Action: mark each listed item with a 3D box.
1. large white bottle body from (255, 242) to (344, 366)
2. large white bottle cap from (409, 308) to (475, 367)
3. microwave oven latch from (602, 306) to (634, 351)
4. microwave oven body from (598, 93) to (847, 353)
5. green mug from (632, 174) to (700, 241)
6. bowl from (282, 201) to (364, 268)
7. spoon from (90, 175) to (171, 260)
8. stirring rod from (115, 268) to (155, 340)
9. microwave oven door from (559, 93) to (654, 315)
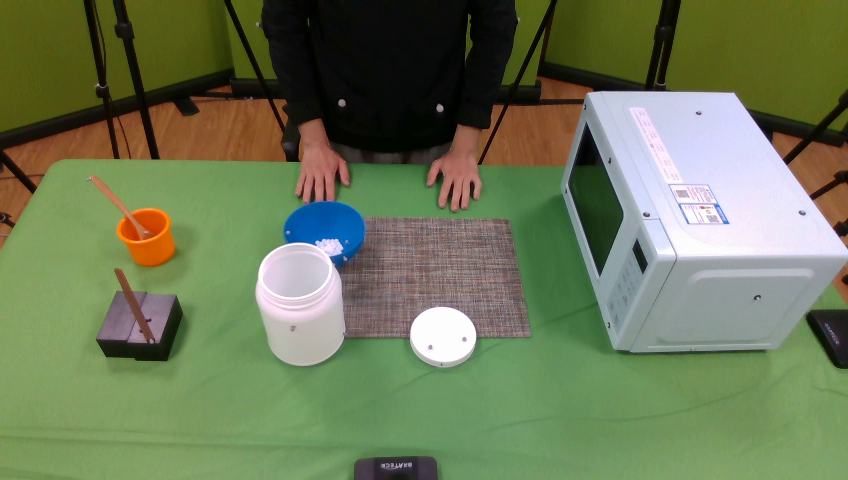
[{"bbox_3d":[-0.196,0.102,0.967,0.131,0.185,0.130,2,49,-2],"label":"large white bottle body"},{"bbox_3d":[0.031,0.165,1.041,0.115,0.018,0.114,2,46,-2],"label":"large white bottle cap"},{"bbox_3d":[0.332,0.153,1.043,0.030,0.029,0.078,0,45,-4],"label":"microwave oven latch"},{"bbox_3d":[0.475,-0.041,1.109,0.326,0.261,0.438,-1,45,-4],"label":"microwave oven body"},{"bbox_3d":[0.456,-0.056,1.154,0.125,0.105,0.092,-15,45,-10],"label":"green mug"},{"bbox_3d":[-0.187,0.005,1.137,0.151,0.077,0.150,3,46,-3],"label":"bowl"},{"bbox_3d":[-0.539,-0.042,1.111,0.021,0.194,0.041,-13,27,52],"label":"spoon"},{"bbox_3d":[-0.478,0.103,0.999,0.014,0.006,0.175,7,32,-49],"label":"stirring rod"},{"bbox_3d":[0.327,-0.074,1.123,0.039,0.245,0.353,-1,46,-5],"label":"microwave oven door"}]
